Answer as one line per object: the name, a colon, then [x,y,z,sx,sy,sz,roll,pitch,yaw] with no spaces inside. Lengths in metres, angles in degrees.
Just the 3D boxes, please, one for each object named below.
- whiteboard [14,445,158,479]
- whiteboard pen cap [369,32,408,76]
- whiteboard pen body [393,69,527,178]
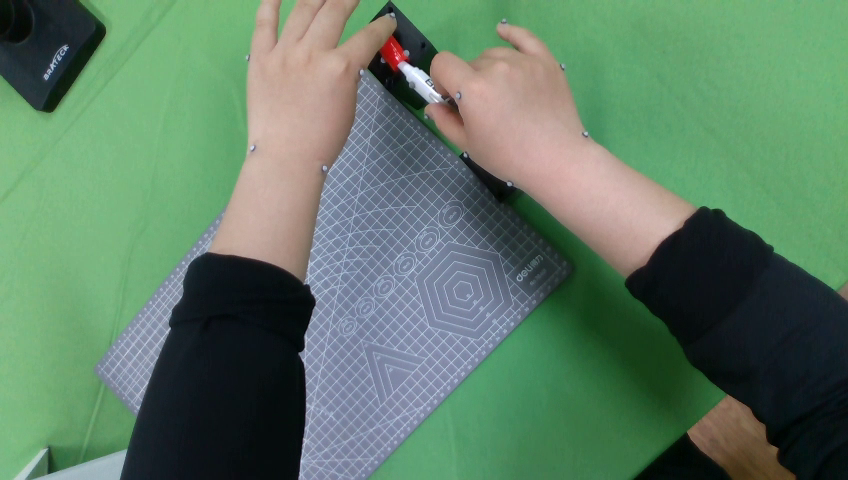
whiteboard: [-0.442,0.329,0.586,0.143,0.307,0.217,7,95,32]
whiteboard pen cap: [-0.028,-0.146,0.479,0.017,0.017,0.032,-36,88,12]
whiteboard pen body: [0.023,-0.096,0.475,0.140,0.017,0.017,40,100,8]
